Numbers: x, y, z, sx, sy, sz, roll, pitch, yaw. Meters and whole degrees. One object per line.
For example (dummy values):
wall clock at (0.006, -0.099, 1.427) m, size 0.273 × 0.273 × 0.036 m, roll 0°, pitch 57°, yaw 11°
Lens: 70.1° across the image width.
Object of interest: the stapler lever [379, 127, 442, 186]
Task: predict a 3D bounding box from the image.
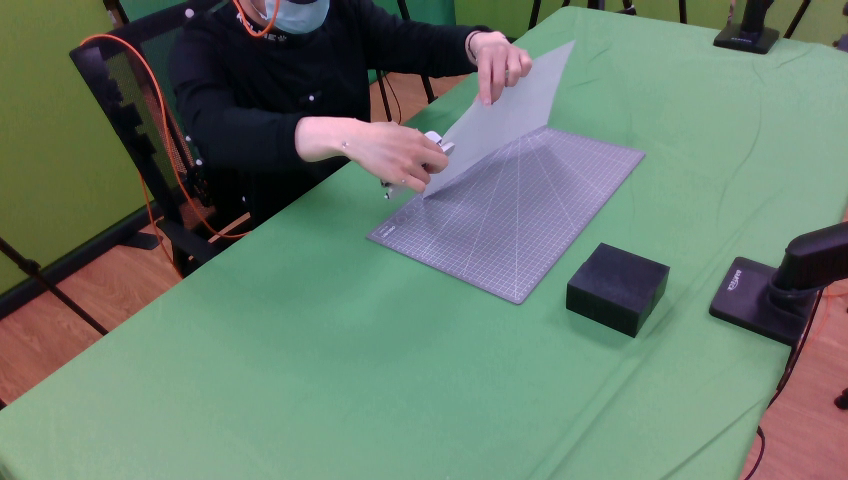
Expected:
stapler lever at (-0.024, -0.127, 0.909) m, size 0.118 × 0.027 × 0.040 m, roll -35°, pitch 79°, yaw -17°

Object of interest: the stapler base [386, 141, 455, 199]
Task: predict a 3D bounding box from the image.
stapler base at (-0.010, -0.112, 0.907) m, size 0.131 × 0.041 × 0.024 m, roll -39°, pitch 80°, yaw -17°
